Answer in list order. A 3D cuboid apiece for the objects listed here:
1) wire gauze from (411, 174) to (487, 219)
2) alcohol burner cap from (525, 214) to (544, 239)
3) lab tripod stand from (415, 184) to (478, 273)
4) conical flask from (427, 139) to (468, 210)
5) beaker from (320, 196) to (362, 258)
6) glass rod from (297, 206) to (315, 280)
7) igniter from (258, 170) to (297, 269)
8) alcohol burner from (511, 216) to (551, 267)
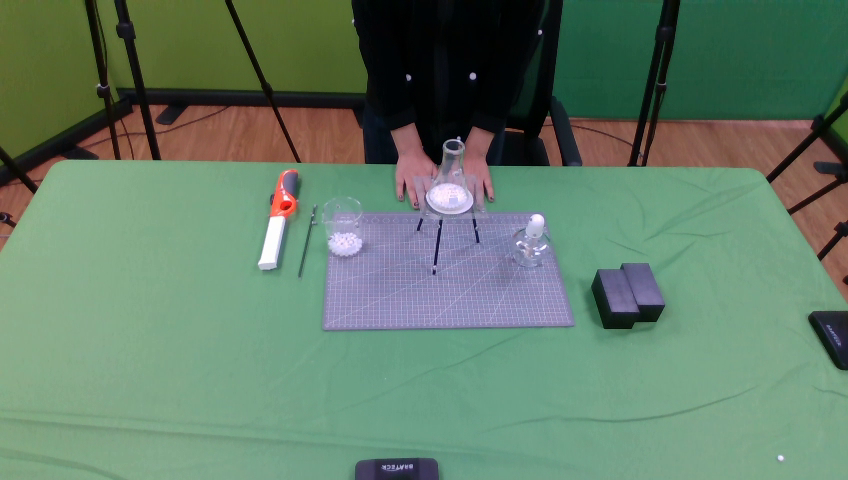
[{"bbox_3d":[0.045,-0.079,1.107,0.125,0.011,0.120,-4,44,-6],"label":"wire gauze"},{"bbox_3d":[0.208,-0.027,1.126,0.034,0.048,0.033,1,54,-1],"label":"alcohol burner cap"},{"bbox_3d":[0.042,-0.031,1.152,0.148,0.132,0.147,3,44,-3],"label":"lab tripod stand"},{"bbox_3d":[0.046,-0.117,1.062,0.075,0.122,0.075,3,46,-2],"label":"conical flask"},{"bbox_3d":[-0.156,-0.020,1.150,0.084,0.101,0.073,-30,55,-28],"label":"beaker"},{"bbox_3d":[-0.232,0.000,1.191,0.008,0.008,0.198,3,46,-1],"label":"glass rod"},{"bbox_3d":[-0.294,-0.049,1.221,0.057,0.025,0.274,-5,45,4],"label":"igniter"},{"bbox_3d":[0.206,-0.004,1.153,0.078,0.120,0.077,2,48,-2],"label":"alcohol burner"}]
